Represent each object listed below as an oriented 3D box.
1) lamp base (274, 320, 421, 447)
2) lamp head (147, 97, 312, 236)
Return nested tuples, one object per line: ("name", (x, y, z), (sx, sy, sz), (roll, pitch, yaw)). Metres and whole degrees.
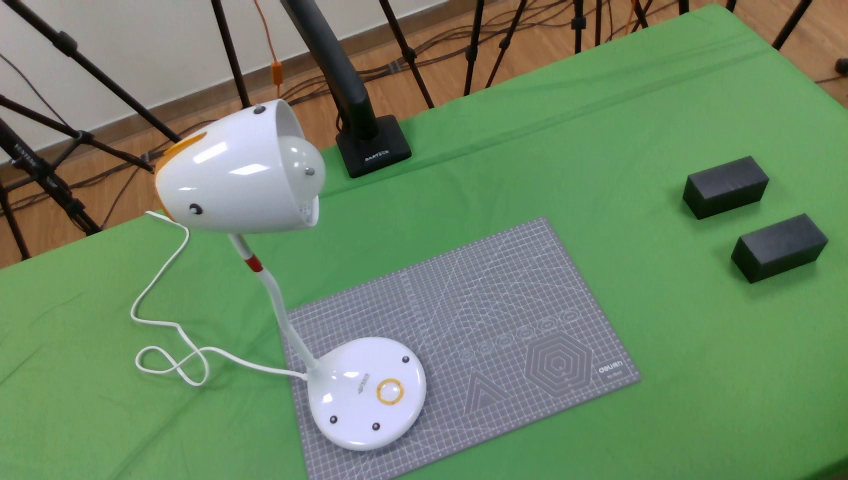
("lamp base", (-0.108, 0.157, 0.768), (0.179, 0.182, 0.159), (0, 55, 15))
("lamp head", (-0.167, -0.052, 0.521), (0.123, 0.113, 0.111), (-16, 54, 6))
